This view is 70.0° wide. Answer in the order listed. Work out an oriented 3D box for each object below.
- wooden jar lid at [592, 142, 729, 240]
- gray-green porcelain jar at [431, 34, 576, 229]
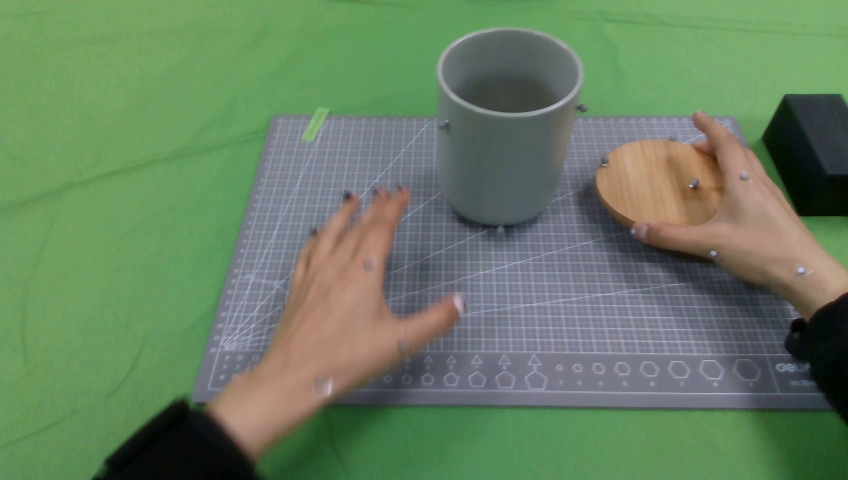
[{"bbox_3d":[0.195,-0.040,0.506,0.108,0.021,0.107,-3,48,3],"label":"wooden jar lid"},{"bbox_3d":[0.058,-0.080,0.483,0.106,0.127,0.105,0,51,1],"label":"gray-green porcelain jar"}]
